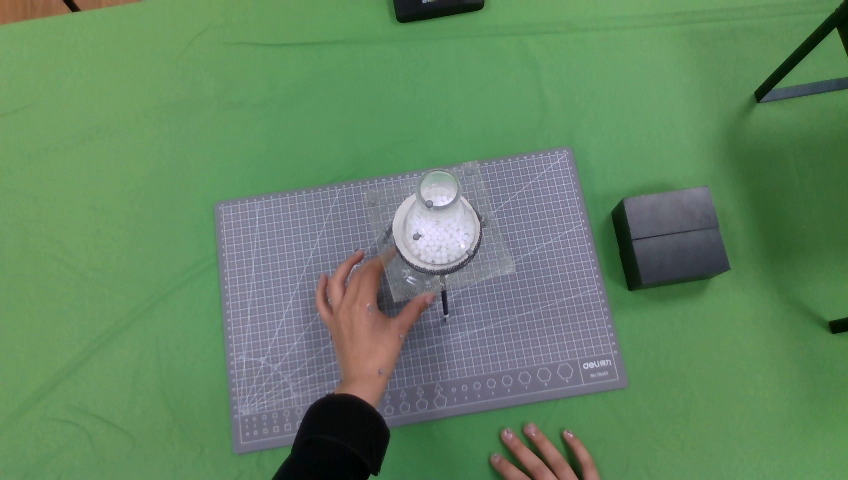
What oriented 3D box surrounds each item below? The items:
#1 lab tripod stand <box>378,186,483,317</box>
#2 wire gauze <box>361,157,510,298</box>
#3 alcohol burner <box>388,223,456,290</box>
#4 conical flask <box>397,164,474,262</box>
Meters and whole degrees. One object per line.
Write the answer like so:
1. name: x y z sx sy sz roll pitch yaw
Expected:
1. lab tripod stand: 0.013 0.001 0.664 0.148 0.132 0.147 0 74 1
2. wire gauze: 0.010 -0.013 0.600 0.125 0.011 0.121 -14 78 -6
3. alcohol burner: -0.002 0.014 0.671 0.078 0.119 0.077 0 75 -1
4. conical flask: 0.010 -0.029 0.542 0.075 0.122 0.075 0 75 1
